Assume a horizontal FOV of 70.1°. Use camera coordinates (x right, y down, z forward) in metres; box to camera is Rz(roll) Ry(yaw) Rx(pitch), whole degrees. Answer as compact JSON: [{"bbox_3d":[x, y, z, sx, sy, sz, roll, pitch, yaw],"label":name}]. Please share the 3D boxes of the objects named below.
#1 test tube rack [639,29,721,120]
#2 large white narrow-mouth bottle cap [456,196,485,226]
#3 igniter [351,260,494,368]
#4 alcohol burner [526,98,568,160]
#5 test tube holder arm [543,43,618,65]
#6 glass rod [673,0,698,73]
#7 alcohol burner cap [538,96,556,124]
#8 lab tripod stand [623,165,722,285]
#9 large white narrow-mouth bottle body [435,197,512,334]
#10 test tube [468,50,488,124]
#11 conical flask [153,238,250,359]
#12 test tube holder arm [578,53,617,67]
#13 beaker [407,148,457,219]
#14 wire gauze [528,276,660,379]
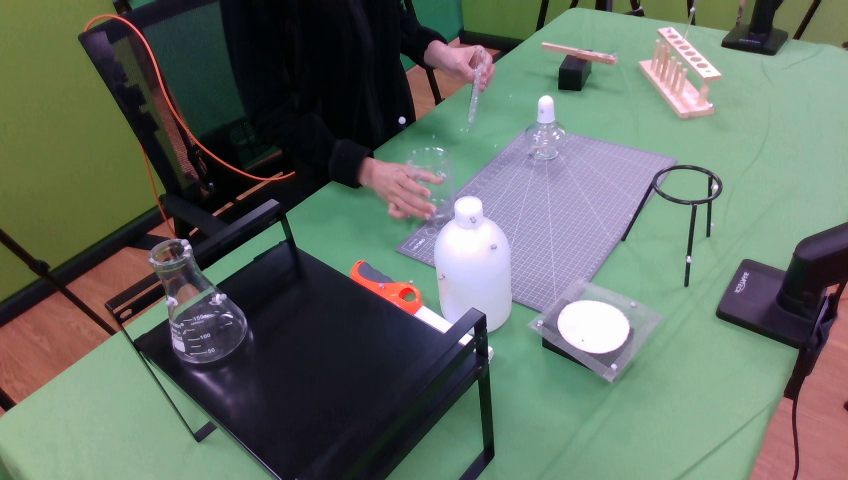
[{"bbox_3d":[0.527,-0.351,1.262,0.067,0.085,0.241,-8,40,1],"label":"test tube rack"},{"bbox_3d":[0.057,-0.036,0.749,0.038,0.024,0.037,-4,40,4],"label":"large white narrow-mouth bottle cap"},{"bbox_3d":[-0.013,0.098,0.864,0.274,0.025,0.057,30,66,36],"label":"igniter"},{"bbox_3d":[0.228,-0.210,1.118,0.078,0.119,0.077,-5,43,5],"label":"alcohol burner"},{"bbox_3d":[0.345,-0.413,1.341,0.177,0.015,0.013,25,50,31],"label":"test tube holder arm"},{"bbox_3d":[0.538,-0.425,1.245,0.008,0.200,0.008,0,47,0],"label":"glass rod"},{"bbox_3d":[0.222,-0.237,1.095,0.034,0.048,0.033,-7,34,5],"label":"alcohol burner cap"},{"bbox_3d":[0.365,-0.030,0.874,0.148,0.132,0.147,-6,41,6],"label":"lab tripod stand"},{"bbox_3d":[0.066,0.028,0.805,0.102,0.195,0.101,-4,40,4],"label":"large white narrow-mouth bottle body"},{"bbox_3d":[0.102,-0.288,1.151,0.017,0.150,0.017,4,41,-3],"label":"test tube"},{"bbox_3d":[-0.225,0.055,0.597,0.075,0.122,0.075,-5,41,4],"label":"conical flask"},{"bbox_3d":[0.376,-0.393,1.314,0.087,0.015,0.010,26,51,32],"label":"test tube holder arm"},{"bbox_3d":[0.017,-0.093,0.992,0.073,0.100,0.084,16,39,33],"label":"beaker"},{"bbox_3d":[0.213,0.103,0.763,0.124,0.011,0.122,30,52,35],"label":"wire gauze"}]
